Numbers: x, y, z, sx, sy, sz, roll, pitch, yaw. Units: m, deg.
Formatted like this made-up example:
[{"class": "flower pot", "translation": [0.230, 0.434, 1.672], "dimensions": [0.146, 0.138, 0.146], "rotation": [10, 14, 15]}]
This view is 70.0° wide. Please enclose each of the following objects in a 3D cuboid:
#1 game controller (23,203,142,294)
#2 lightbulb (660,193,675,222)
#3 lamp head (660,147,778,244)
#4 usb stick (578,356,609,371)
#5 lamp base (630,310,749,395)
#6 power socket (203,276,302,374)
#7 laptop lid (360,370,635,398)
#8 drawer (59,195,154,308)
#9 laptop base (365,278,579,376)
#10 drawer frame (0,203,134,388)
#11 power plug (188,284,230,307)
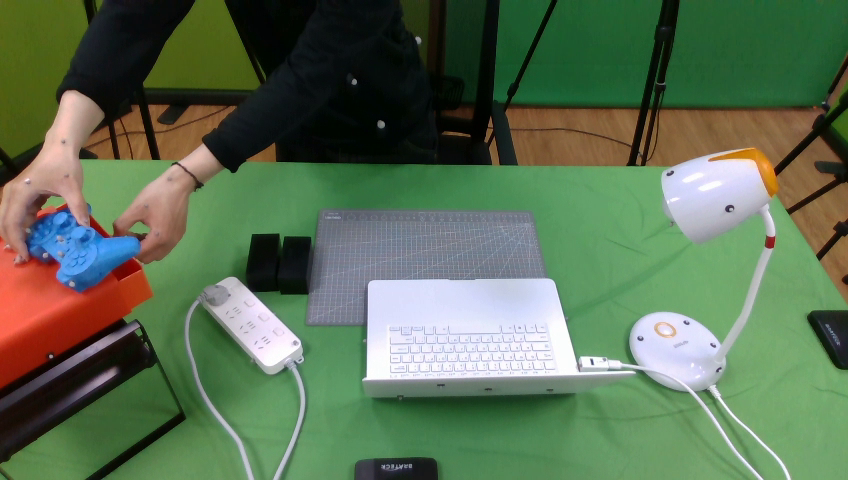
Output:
[{"class": "game controller", "translation": [-0.444, 0.003, 0.776], "dimensions": [0.154, 0.052, 0.097], "rotation": [27, 67, 30]}, {"class": "lightbulb", "translation": [0.366, -0.060, 0.806], "dimensions": [0.060, 0.107, 0.059], "rotation": [17, 60, -31]}, {"class": "lamp head", "translation": [0.389, -0.063, 0.784], "dimensions": [0.123, 0.113, 0.112], "rotation": [-22, 33, 37]}, {"class": "usb stick", "translation": [0.273, 0.207, 1.007], "dimensions": [0.059, 0.027, 0.021], "rotation": [0, 52, 0]}, {"class": "lamp base", "translation": [0.447, 0.142, 0.984], "dimensions": [0.161, 0.181, 0.178], "rotation": [-24, 55, -24]}, {"class": "power socket", "translation": [-0.296, 0.141, 1.034], "dimensions": [0.072, 0.033, 0.225], "rotation": [-34, 58, -31]}, {"class": "laptop lid", "translation": [0.090, 0.208, 0.863], "dimensions": [0.357, 0.242, 0.013], "rotation": [0, 70, -6]}, {"class": "drawer", "translation": [-0.513, 0.055, 0.817], "dimensions": [0.193, 0.073, 0.211], "rotation": [37, 54, 26]}, {"class": "laptop base", "translation": [0.076, 0.162, 1.053], "dimensions": [0.355, 0.023, 0.234], "rotation": [0, 44, -4]}, {"class": "drawer frame", "translation": [-0.536, 0.074, 0.797], "dimensions": [0.200, 0.083, 0.213], "rotation": [36, 54, 26]}, {"class": "power plug", "translation": [-0.368, 0.100, 1.036], "dimensions": [0.072, 0.053, 0.035], "rotation": [-26, 53, -24]}]
